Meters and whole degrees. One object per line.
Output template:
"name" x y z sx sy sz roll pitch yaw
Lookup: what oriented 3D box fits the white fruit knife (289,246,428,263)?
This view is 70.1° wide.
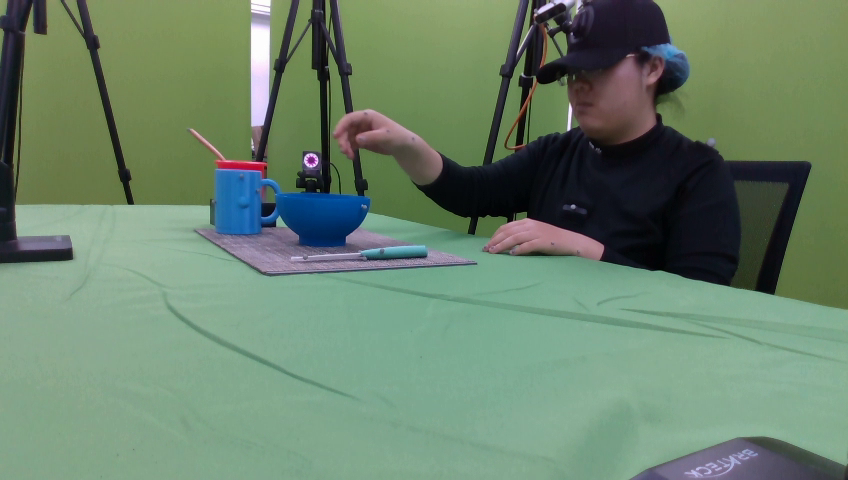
"white fruit knife" -0.082 0.022 0.822 0.208 0.016 0.027 -3 -20 -30

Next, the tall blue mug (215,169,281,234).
"tall blue mug" -0.313 -0.069 1.061 0.077 0.108 0.108 6 9 31

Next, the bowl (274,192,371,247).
"bowl" -0.161 -0.033 0.958 0.151 0.077 0.151 3 8 0

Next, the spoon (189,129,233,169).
"spoon" -0.388 -0.150 1.174 0.193 0.021 0.042 49 20 7
